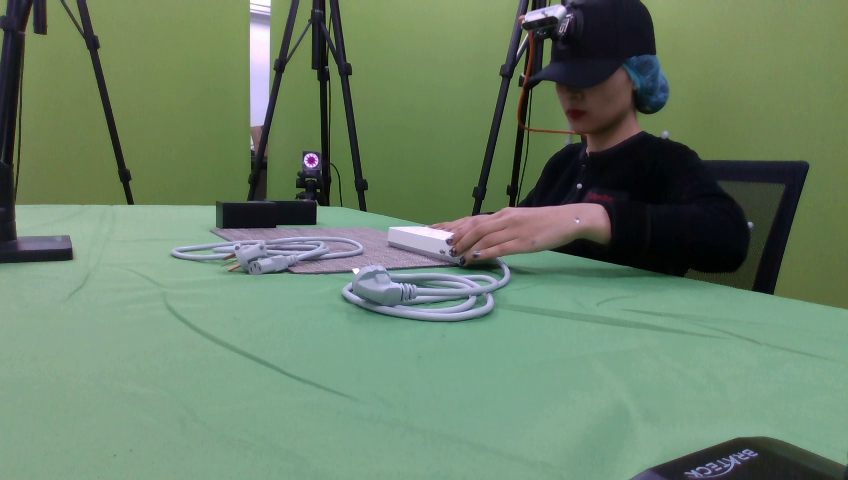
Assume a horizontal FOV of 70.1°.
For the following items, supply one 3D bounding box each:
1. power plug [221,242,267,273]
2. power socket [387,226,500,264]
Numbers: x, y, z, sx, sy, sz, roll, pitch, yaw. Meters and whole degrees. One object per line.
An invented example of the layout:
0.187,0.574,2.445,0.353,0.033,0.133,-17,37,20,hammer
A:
-0.217,0.024,0.737,0.053,0.035,0.072,-23,-5,-10,power plug
0.023,0.004,0.913,0.072,0.032,0.225,-3,10,-34,power socket
